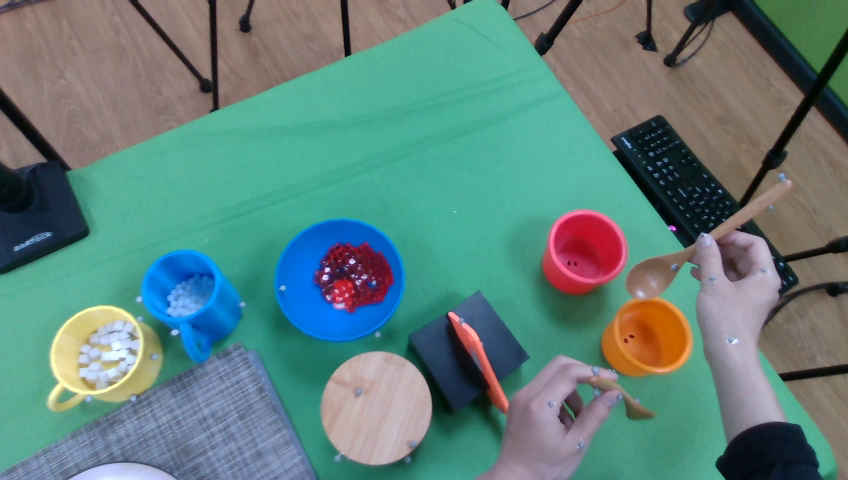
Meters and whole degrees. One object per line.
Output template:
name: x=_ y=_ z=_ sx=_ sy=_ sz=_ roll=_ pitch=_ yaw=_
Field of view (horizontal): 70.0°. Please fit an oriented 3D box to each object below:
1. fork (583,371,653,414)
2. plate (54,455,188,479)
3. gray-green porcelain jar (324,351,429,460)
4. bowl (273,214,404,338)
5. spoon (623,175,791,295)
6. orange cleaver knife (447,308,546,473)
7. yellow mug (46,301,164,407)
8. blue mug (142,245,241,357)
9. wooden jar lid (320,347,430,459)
fork: x=0.185 y=0.145 z=0.570 sx=0.028 sy=0.209 sz=0.018 roll=-12 pitch=60 yaw=28
plate: x=-0.321 y=0.332 z=0.628 sx=0.209 sy=0.038 sz=0.207 roll=1 pitch=69 yaw=-3
gray-green porcelain jar: x=-0.051 y=0.185 z=0.661 sx=0.106 sy=0.127 sz=0.105 roll=1 pitch=69 yaw=-3
bowl: x=-0.100 y=0.052 z=0.733 sx=0.151 sy=0.077 sz=0.150 roll=2 pitch=69 yaw=-4
spoon: x=0.288 y=-0.003 z=0.627 sx=0.022 sy=0.194 sz=0.041 roll=-20 pitch=72 yaw=-53
orange cleaver knife: x=0.082 y=0.172 z=0.698 sx=0.012 sy=0.077 sz=0.212 roll=-30 pitch=100 yaw=-14
yellow mug: x=-0.370 y=0.137 z=0.688 sx=0.099 sy=0.064 sz=0.130 roll=37 pitch=72 yaw=11
blue mug: x=-0.263 y=0.077 z=0.698 sx=0.082 sy=0.106 sz=0.115 roll=-8 pitch=70 yaw=-7
wooden jar lid: x=-0.049 y=0.161 z=0.602 sx=0.108 sy=0.021 sz=0.107 roll=3 pitch=70 yaw=-7
